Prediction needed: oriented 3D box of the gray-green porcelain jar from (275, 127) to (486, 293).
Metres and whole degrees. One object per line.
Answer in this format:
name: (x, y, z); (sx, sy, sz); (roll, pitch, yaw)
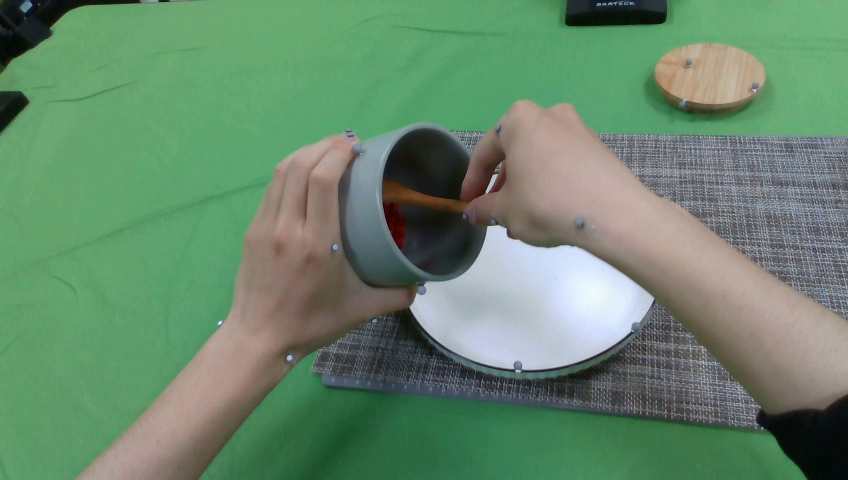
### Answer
gray-green porcelain jar: (-0.036, -0.015, 0.436); (0.126, 0.107, 0.105); (-8, 42, 44)

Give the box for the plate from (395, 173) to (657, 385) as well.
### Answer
plate: (0.080, 0.030, 0.499); (0.207, 0.039, 0.205); (-5, 49, 6)

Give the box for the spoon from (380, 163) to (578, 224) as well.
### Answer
spoon: (0.008, -0.034, 0.407); (0.192, 0.022, 0.041); (17, 30, 20)

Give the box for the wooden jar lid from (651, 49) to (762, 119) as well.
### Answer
wooden jar lid: (0.296, -0.164, 0.641); (0.108, 0.021, 0.107); (-5, 50, 6)
